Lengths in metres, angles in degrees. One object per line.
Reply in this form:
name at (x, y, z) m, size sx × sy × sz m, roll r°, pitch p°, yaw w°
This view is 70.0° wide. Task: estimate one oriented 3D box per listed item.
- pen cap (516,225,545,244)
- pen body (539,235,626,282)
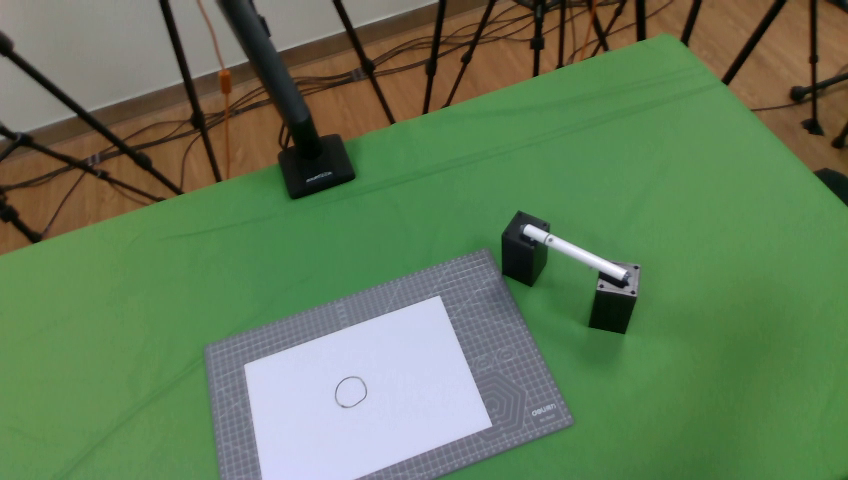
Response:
pen cap at (0.144, -0.008, 0.820) m, size 0.038 × 0.017 × 0.017 m, roll 25°, pitch 62°, yaw 25°
pen body at (0.194, 0.019, 0.795) m, size 0.143 × 0.017 × 0.017 m, roll 27°, pitch 63°, yaw 24°
